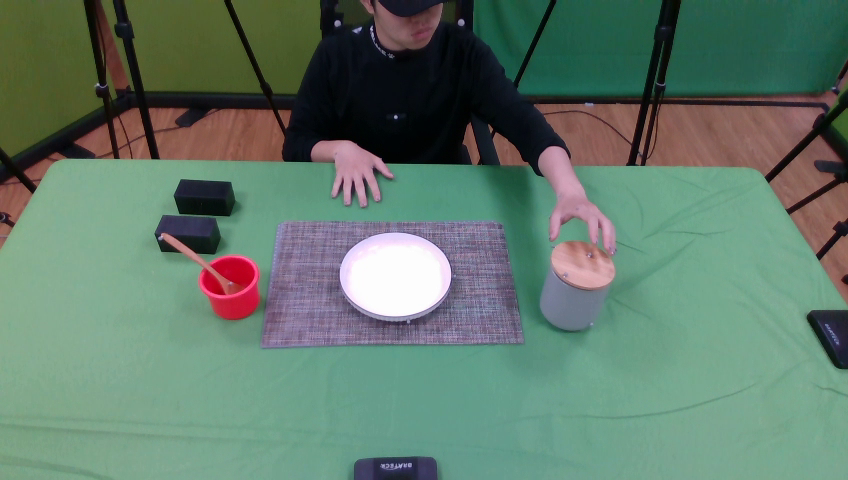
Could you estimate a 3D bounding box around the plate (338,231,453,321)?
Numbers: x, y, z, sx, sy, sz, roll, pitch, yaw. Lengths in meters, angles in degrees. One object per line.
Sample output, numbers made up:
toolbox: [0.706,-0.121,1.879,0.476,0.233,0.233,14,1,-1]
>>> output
plate: [-0.052,0.068,1.111,0.208,0.039,0.206,2,46,-2]

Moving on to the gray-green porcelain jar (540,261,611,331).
gray-green porcelain jar: [0.262,0.088,1.058,0.106,0.127,0.105,2,46,-2]

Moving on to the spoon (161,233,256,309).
spoon: [-0.366,0.051,1.036,0.194,0.021,0.041,47,45,-21]

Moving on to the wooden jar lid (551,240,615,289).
wooden jar lid: [0.263,0.044,1.011,0.108,0.021,0.107,4,45,-4]
